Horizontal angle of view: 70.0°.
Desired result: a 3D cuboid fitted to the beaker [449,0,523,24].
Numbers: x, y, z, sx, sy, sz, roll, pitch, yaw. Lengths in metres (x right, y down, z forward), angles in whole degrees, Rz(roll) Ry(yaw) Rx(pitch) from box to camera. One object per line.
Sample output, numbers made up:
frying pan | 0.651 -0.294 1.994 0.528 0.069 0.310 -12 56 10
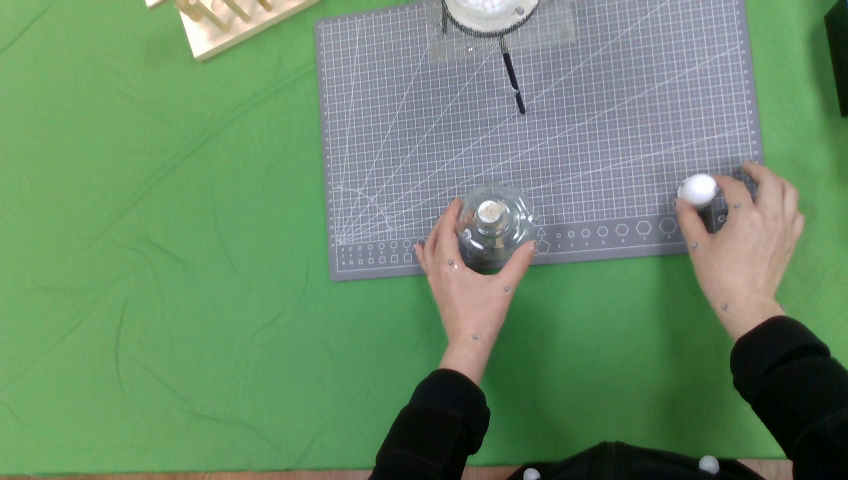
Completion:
beaker | 0.041 -0.220 0.473 0.083 0.100 0.074 8 88 14

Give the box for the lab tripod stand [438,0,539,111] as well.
lab tripod stand | 0.072 -0.210 0.582 0.148 0.132 0.148 -1 87 11

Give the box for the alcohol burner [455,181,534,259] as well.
alcohol burner | 0.066 -0.021 0.581 0.078 0.119 0.077 -1 85 12

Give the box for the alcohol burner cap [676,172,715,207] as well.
alcohol burner cap | 0.256 -0.049 0.568 0.034 0.048 0.034 -1 87 17

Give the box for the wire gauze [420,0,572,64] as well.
wire gauze | 0.058 -0.216 0.518 0.125 0.011 0.121 -6 88 10

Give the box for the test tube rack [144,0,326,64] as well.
test tube rack | -0.181 -0.291 0.674 0.242 0.085 0.066 -23 81 10
